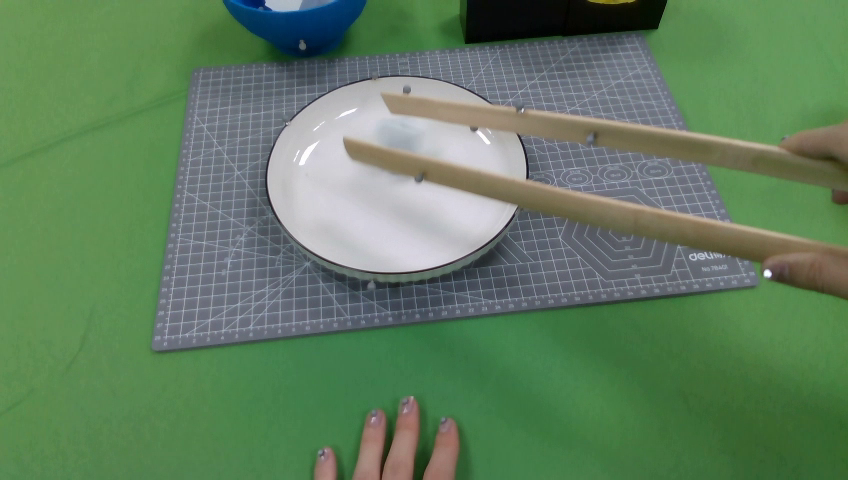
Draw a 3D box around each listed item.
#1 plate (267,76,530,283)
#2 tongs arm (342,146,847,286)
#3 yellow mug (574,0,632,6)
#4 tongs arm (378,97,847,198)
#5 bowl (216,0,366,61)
[{"bbox_3d":[-0.019,-0.051,0.495,0.208,0.039,0.205,0,56,1],"label":"plate"},{"bbox_3d":[0.108,-0.020,0.365,0.385,0.028,0.028,14,56,27],"label":"tongs arm"},{"bbox_3d":[0.158,-0.274,0.567,0.131,0.064,0.099,-19,58,-11],"label":"yellow mug"},{"bbox_3d":[0.124,-0.047,0.380,0.382,0.027,0.050,13,59,27],"label":"tongs arm"},{"bbox_3d":[-0.123,-0.232,0.596,0.151,0.077,0.150,0,56,1],"label":"bowl"}]
